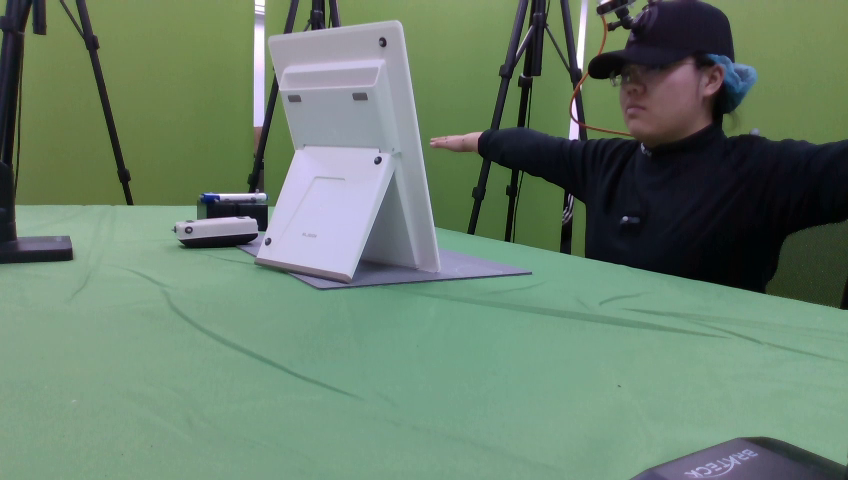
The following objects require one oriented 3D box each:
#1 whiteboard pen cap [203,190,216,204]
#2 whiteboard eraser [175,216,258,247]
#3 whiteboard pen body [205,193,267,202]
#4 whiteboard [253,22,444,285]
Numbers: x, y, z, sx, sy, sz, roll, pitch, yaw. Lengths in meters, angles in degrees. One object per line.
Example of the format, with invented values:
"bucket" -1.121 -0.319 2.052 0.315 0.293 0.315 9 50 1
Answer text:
"whiteboard pen cap" -0.388 -0.077 1.093 0.018 0.018 0.033 2 25 -7
"whiteboard eraser" -0.313 -0.013 0.915 0.113 0.042 0.055 -5 12 -30
"whiteboard pen body" -0.355 -0.081 1.147 0.017 0.017 0.141 8 9 34
"whiteboard" -0.125 -0.081 0.715 0.216 0.305 0.144 9 29 36
